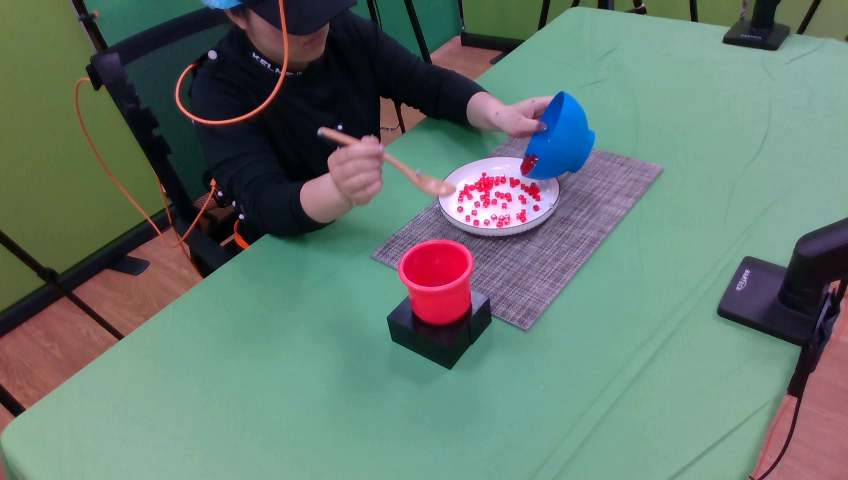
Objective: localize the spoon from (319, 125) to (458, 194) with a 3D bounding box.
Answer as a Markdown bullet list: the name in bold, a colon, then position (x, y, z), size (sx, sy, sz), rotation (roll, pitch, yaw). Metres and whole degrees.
- **spoon**: position (-0.046, -0.106, 0.783), size (0.194, 0.021, 0.041), rotation (28, 33, -8)

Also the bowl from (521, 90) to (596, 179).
- **bowl**: position (0.228, -0.159, 0.988), size (0.077, 0.151, 0.151), rotation (22, 43, -6)

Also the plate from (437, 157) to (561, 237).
- **plate**: position (0.127, -0.070, 1.023), size (0.207, 0.039, 0.206), rotation (-5, 40, 5)
